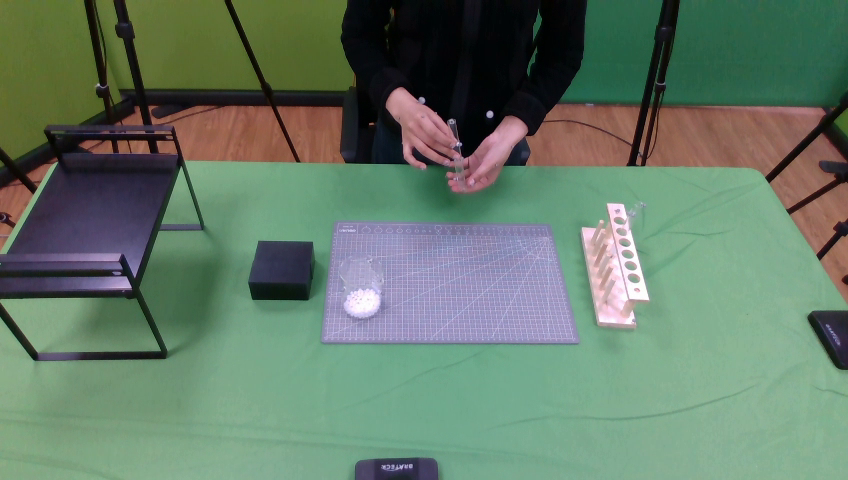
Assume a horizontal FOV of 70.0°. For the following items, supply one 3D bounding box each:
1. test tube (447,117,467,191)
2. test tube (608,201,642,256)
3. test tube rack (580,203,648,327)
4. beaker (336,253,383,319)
[{"bbox_3d":[0.061,-0.152,1.098,0.017,0.151,0.017,-8,37,6],"label":"test tube"},{"bbox_3d":[0.374,-0.019,1.134,0.017,0.151,0.017,3,51,-4],"label":"test tube"},{"bbox_3d":[0.352,0.041,1.143,0.067,0.085,0.241,4,46,0],"label":"test tube rack"},{"bbox_3d":[-0.108,0.084,1.052,0.084,0.101,0.074,25,50,17],"label":"beaker"}]
